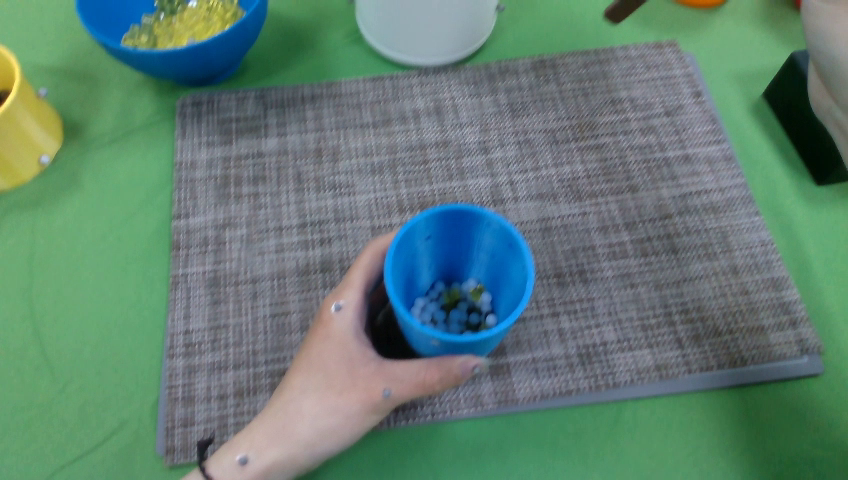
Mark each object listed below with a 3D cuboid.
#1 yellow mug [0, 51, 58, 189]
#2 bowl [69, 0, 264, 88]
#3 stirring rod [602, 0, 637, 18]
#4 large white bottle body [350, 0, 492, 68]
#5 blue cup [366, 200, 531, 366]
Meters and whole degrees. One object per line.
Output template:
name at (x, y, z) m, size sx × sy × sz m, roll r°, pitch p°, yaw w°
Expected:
yellow mug at (-0.354, -0.082, 0.463) m, size 0.100 × 0.064 × 0.130 m, roll 3°, pitch 63°, yaw 0°
bowl at (-0.204, -0.184, 0.514) m, size 0.151 × 0.077 × 0.150 m, roll 1°, pitch 62°, yaw -1°
stirring rod at (0.166, -0.180, 0.327) m, size 0.014 × 0.176 × 0.005 m, roll 24°, pitch 55°, yaw -25°
large white bottle body at (-0.003, -0.250, 0.491) m, size 0.130 × 0.186 × 0.129 m, roll 1°, pitch 62°, yaw -1°
blue cup at (0.016, 0.037, 0.382) m, size 0.093 × 0.101 × 0.092 m, roll 1°, pitch 63°, yaw -1°
